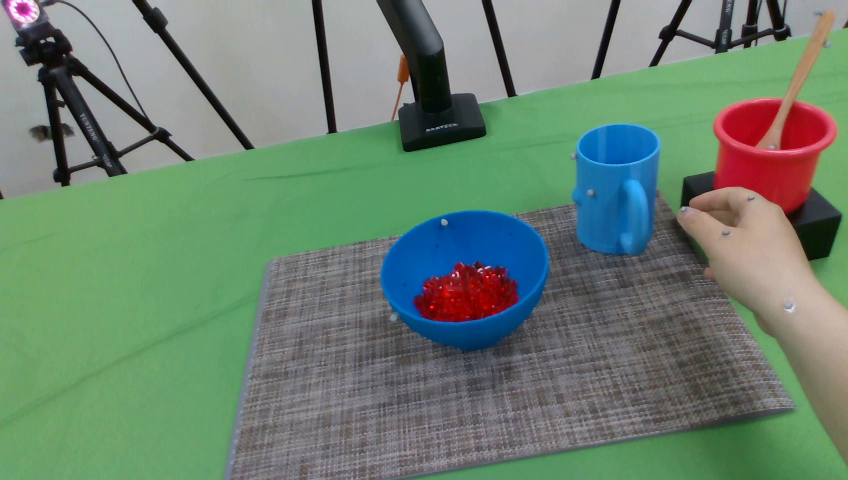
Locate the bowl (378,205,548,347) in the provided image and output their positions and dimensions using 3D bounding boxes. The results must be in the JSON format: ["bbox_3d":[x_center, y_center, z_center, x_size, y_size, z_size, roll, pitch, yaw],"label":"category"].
[{"bbox_3d":[0.040,0.045,0.557,0.151,0.077,0.150,-8,40,7],"label":"bowl"}]

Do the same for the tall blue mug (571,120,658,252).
[{"bbox_3d":[0.199,-0.047,0.598,0.078,0.109,0.106,-28,42,-19],"label":"tall blue mug"}]

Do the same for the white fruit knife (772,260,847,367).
[{"bbox_3d":[0.339,0.082,0.490,0.027,0.016,0.205,11,35,-15],"label":"white fruit knife"}]

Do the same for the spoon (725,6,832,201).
[{"bbox_3d":[0.331,-0.125,0.555,0.041,0.022,0.194,26,97,39],"label":"spoon"}]
